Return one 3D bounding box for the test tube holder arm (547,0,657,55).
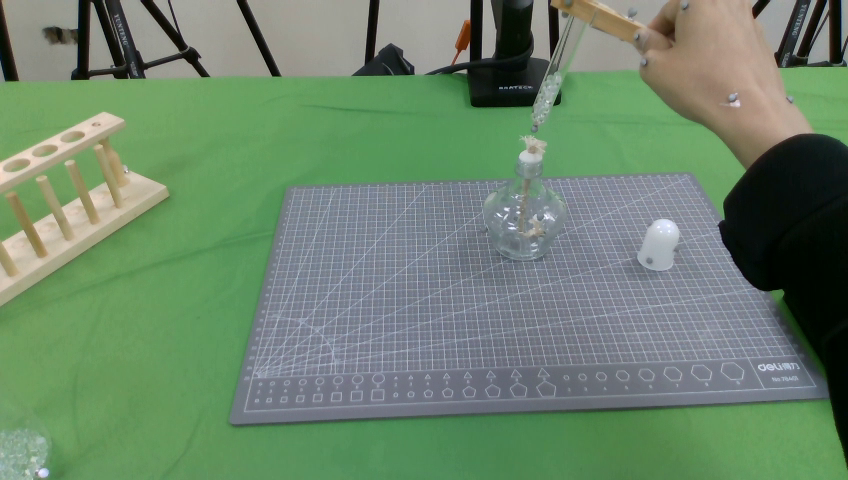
[{"bbox_3d":[0.128,-0.158,0.438,0.087,0.015,0.010,35,44,22],"label":"test tube holder arm"}]

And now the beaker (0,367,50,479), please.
[{"bbox_3d":[-0.298,0.120,0.386,0.084,0.101,0.073,-18,44,-18],"label":"beaker"}]

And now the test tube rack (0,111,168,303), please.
[{"bbox_3d":[-0.368,-0.025,0.564,0.066,0.086,0.241,22,46,24],"label":"test tube rack"}]

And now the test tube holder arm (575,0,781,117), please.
[{"bbox_3d":[0.164,-0.135,0.422,0.013,0.015,0.177,-26,55,-38],"label":"test tube holder arm"}]

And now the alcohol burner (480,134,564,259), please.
[{"bbox_3d":[0.091,-0.042,0.552,0.078,0.120,0.077,-1,39,1],"label":"alcohol burner"}]

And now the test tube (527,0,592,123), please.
[{"bbox_3d":[0.109,-0.157,0.461,0.017,0.151,0.017,12,36,-8],"label":"test tube"}]

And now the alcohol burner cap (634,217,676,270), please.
[{"bbox_3d":[0.214,0.001,0.555,0.034,0.048,0.033,-1,40,1],"label":"alcohol burner cap"}]
